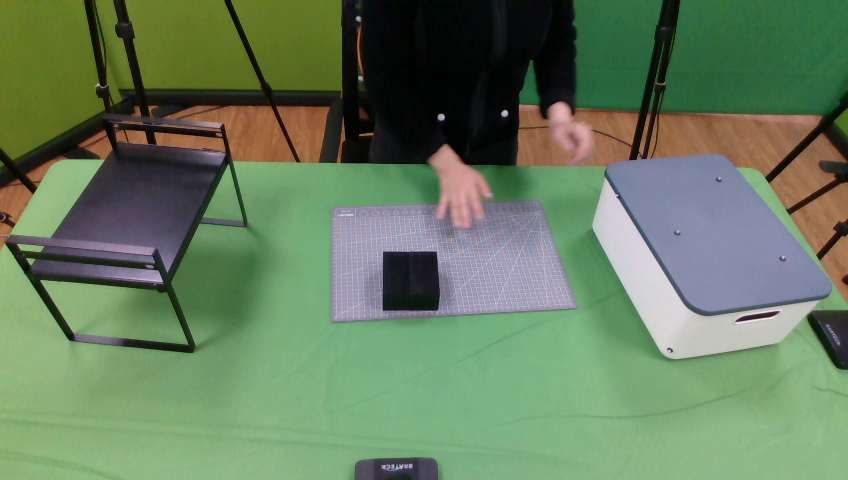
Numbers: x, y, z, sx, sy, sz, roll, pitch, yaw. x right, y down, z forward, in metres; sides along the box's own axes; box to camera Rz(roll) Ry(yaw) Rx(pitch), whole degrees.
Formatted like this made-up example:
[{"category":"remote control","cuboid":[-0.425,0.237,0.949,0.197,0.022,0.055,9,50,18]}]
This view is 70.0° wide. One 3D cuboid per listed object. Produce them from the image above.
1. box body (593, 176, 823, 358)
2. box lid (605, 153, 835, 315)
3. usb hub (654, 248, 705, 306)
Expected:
[{"category":"box body","cuboid":[0.497,0.023,1.112,0.254,0.161,0.361,-7,47,-10]},{"category":"box lid","cuboid":[0.499,-0.029,1.060,0.264,0.015,0.369,-6,47,-10]},{"category":"usb hub","cuboid":[0.482,0.069,1.150,0.049,0.025,0.124,-1,48,-8]}]
